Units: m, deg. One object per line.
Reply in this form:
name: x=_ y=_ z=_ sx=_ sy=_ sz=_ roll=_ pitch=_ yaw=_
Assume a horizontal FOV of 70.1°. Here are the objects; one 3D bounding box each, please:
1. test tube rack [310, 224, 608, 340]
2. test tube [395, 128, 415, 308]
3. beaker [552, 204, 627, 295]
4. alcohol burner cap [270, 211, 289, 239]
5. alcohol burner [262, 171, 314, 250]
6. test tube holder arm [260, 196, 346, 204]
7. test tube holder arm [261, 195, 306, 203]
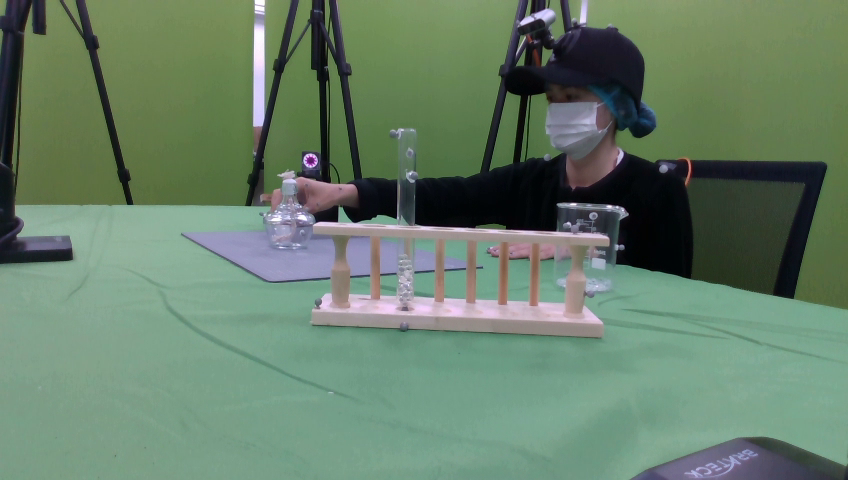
test tube rack: x=0.028 y=0.032 z=0.528 sx=0.242 sy=0.085 sz=0.067 roll=3 pitch=7 yaw=0
test tube: x=-0.016 y=-0.016 z=0.502 sx=0.017 sy=0.150 sz=0.017 roll=1 pitch=10 yaw=0
beaker: x=0.191 y=0.010 z=0.708 sx=0.083 sy=0.100 sz=0.074 roll=8 pitch=9 yaw=33
alcohol burner cap: x=-0.246 y=-0.026 z=1.034 sx=0.034 sy=0.048 sz=0.034 roll=2 pitch=8 yaw=0
alcohol burner: x=-0.205 y=-0.045 z=0.913 sx=0.078 sy=0.119 sz=0.078 roll=1 pitch=9 yaw=0
test tube holder arm: x=-0.239 y=-0.081 z=1.214 sx=0.179 sy=0.015 sz=0.013 roll=-1 pitch=1 yaw=-32
test tube holder arm: x=-0.275 y=-0.081 z=1.185 sx=0.088 sy=0.015 sz=0.010 roll=-1 pitch=1 yaw=-32
